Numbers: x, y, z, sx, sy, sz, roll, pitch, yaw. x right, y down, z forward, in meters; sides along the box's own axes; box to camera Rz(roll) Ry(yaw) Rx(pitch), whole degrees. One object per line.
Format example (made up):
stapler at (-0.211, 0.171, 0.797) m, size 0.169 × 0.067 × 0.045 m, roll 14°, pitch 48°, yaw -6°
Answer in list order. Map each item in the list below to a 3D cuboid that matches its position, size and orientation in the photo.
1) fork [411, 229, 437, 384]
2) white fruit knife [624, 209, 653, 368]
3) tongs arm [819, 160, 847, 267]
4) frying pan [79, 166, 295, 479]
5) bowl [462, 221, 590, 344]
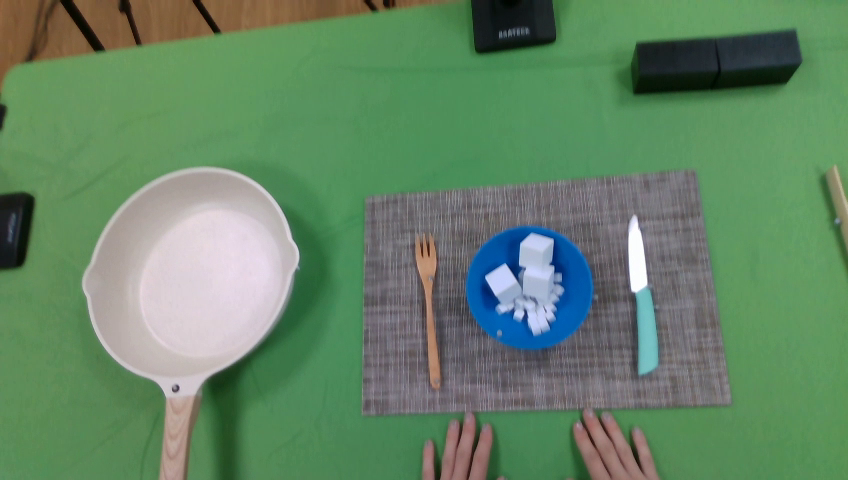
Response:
fork at (0.003, 0.084, 0.796) m, size 0.028 × 0.019 × 0.206 m, roll -4°, pitch 71°, yaw -2°
white fruit knife at (0.268, 0.057, 0.763) m, size 0.027 × 0.016 × 0.206 m, roll 1°, pitch 72°, yaw -2°
tongs arm at (0.534, 0.083, 0.710) m, size 0.028 × 0.028 × 0.385 m, roll -9°, pitch 72°, yaw 4°
frying pan at (-0.311, 0.136, 0.789) m, size 0.306 × 0.103 × 0.483 m, roll -6°, pitch 64°, yaw 8°
bowl at (0.126, 0.059, 0.752) m, size 0.151 × 0.077 × 0.150 m, roll -3°, pitch 73°, yaw 8°
